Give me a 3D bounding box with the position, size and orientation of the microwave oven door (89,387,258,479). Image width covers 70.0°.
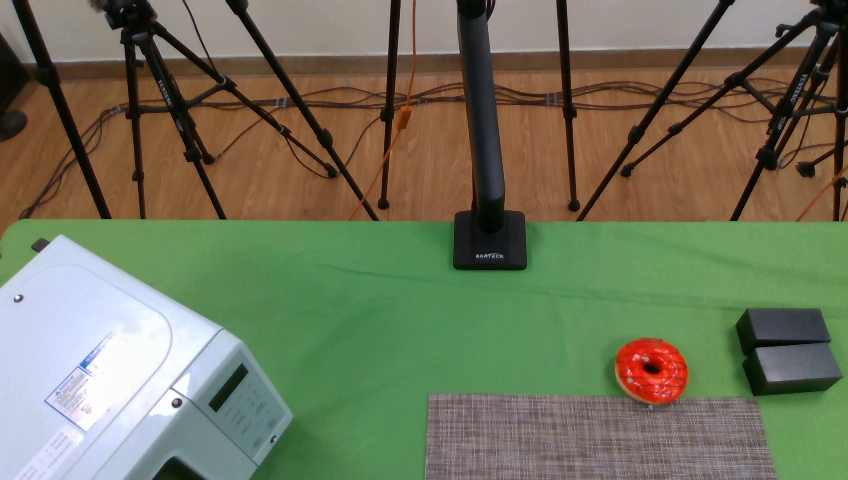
[{"bbox_3d":[-0.332,0.345,0.630,0.039,0.246,0.354,24,60,20],"label":"microwave oven door"}]

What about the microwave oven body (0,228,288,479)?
[{"bbox_3d":[-0.435,0.261,0.702,0.324,0.262,0.440,25,61,19],"label":"microwave oven body"}]

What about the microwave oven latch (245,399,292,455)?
[{"bbox_3d":[-0.211,0.247,0.815,0.030,0.030,0.079,26,62,20],"label":"microwave oven latch"}]

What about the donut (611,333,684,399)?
[{"bbox_3d":[0.311,0.176,0.844,0.099,0.049,0.098,-4,51,6],"label":"donut"}]
